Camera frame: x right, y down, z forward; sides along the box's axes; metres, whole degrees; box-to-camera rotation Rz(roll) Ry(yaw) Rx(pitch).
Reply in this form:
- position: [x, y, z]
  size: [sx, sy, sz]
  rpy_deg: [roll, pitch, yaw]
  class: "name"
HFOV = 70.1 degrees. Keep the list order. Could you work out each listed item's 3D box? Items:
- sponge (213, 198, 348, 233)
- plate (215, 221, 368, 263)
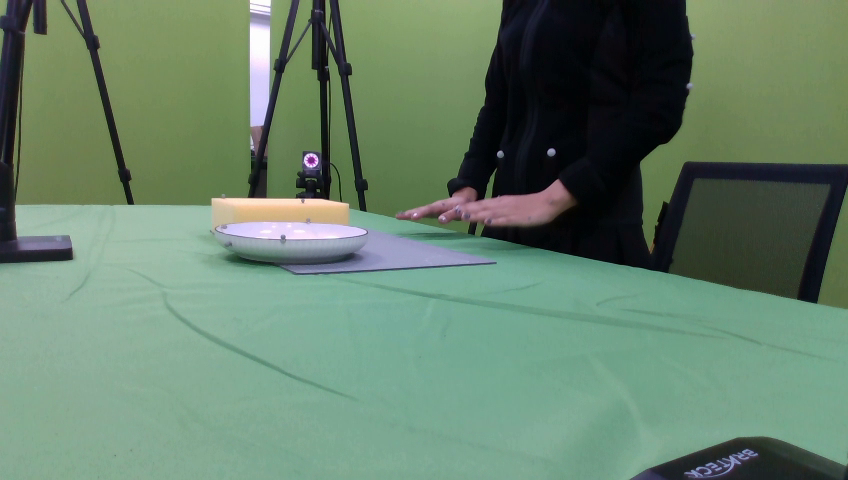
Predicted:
- position: [-0.251, -0.039, 1.059]
  size: [0.208, 0.061, 0.117]
  rpy_deg: [-3, 9, -36]
  class: "sponge"
- position: [-0.182, 0.002, 0.846]
  size: [0.209, 0.038, 0.209]
  rpy_deg: [2, 7, 0]
  class: "plate"
